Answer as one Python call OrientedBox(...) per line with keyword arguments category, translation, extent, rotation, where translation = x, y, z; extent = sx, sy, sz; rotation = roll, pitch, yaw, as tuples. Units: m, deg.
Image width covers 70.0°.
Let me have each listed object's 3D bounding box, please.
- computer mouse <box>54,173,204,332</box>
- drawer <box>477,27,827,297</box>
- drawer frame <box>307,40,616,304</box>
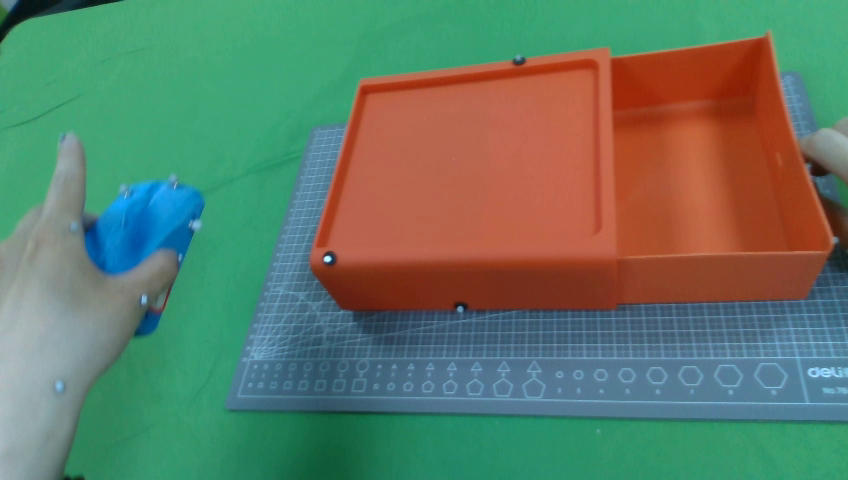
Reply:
OrientedBox(category="computer mouse", translation=(-0.194, 0.003, 0.399), extent=(0.062, 0.041, 0.116), rotation=(5, 61, 18))
OrientedBox(category="drawer", translation=(0.151, -0.055, 0.446), extent=(0.211, 0.074, 0.193), rotation=(-3, 57, 15))
OrientedBox(category="drawer frame", translation=(0.040, -0.051, 0.475), extent=(0.213, 0.083, 0.200), rotation=(-3, 56, 16))
